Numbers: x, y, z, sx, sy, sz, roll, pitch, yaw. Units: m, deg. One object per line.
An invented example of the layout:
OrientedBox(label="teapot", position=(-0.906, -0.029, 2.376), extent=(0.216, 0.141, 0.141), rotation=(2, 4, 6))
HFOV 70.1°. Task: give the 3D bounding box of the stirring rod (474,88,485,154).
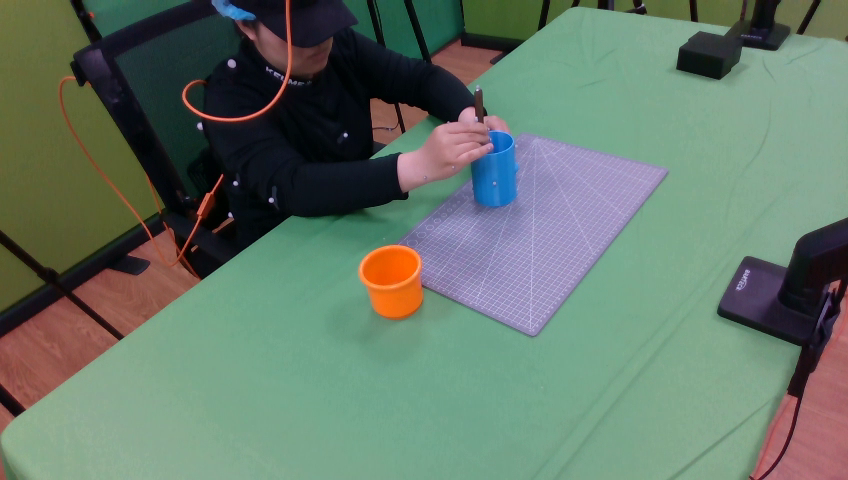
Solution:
OrientedBox(label="stirring rod", position=(0.091, -0.165, 0.971), extent=(0.014, 0.177, 0.005), rotation=(-30, 49, -21))

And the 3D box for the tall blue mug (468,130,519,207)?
OrientedBox(label="tall blue mug", position=(0.114, -0.131, 1.045), extent=(0.078, 0.108, 0.106), rotation=(-20, 41, -10))
